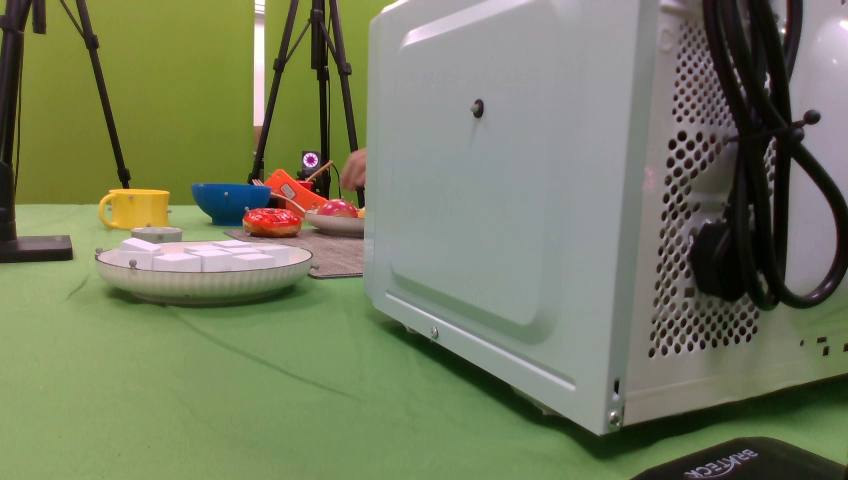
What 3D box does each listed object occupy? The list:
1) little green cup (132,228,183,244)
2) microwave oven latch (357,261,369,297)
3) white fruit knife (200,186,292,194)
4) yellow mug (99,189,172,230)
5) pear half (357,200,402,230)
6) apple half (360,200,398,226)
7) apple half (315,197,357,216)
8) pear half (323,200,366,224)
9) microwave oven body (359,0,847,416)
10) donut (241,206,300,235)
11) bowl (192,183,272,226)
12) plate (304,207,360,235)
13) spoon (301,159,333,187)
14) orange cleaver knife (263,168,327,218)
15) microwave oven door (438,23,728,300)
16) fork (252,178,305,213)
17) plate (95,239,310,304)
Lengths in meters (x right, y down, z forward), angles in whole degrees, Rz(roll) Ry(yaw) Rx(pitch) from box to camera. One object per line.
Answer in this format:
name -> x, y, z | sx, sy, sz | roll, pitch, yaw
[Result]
little green cup -> -0.342, 0.006, 0.779 | 0.061, 0.038, 0.061 | 2, 8, 0
microwave oven latch -> -0.019, 0.033, 0.530 | 0.079, 0.029, 0.030 | -1, 7, -26
white fruit knife -> -0.399, -0.111, 1.368 | 0.208, 0.016, 0.027 | -4, -19, -30
yellow mug -> -0.518, -0.055, 1.080 | 0.099, 0.064, 0.131 | 6, 9, 26
pear half -> -0.075, -0.047, 1.133 | 0.076, 0.056, 0.110 | 12, 7, 31
apple half -> -0.087, -0.059, 1.190 | 0.081, 0.033, 0.081 | 10, 31, -6
apple half -> -0.162, -0.052, 1.121 | 0.081, 0.053, 0.074 | 4, 7, -14
pear half -> -0.155, -0.059, 1.197 | 0.088, 0.031, 0.070 | 15, 32, -4
microwave oven body -> 0.211, -0.047, 0.474 | 0.444, 0.260, 0.324 | -1, 7, -28
donut -> -0.263, -0.032, 1.039 | 0.099, 0.048, 0.099 | 4, 10, 0
bowl -> -0.381, -0.071, 1.202 | 0.151, 0.077, 0.151 | 3, 7, 0
plate -> -0.123, -0.037, 1.149 | 0.209, 0.038, 0.209 | 2, 7, 0
spoon -> -0.316, -0.159, 1.639 | 0.194, 0.022, 0.041 | -49, 32, -20
orange cleaver knife -> -0.262, -0.088, 1.353 | 0.211, 0.077, 0.012 | 28, 13, -1
microwave oven door -> 0.181, -0.072, 0.621 | 0.358, 0.243, 0.039 | -2, 8, -29
fork -> -0.295, -0.084, 1.292 | 0.206, 0.018, 0.028 | 29, 10, 25
plate -> -0.224, 0.031, 0.629 | 0.208, 0.039, 0.207 | 2, 8, 0
